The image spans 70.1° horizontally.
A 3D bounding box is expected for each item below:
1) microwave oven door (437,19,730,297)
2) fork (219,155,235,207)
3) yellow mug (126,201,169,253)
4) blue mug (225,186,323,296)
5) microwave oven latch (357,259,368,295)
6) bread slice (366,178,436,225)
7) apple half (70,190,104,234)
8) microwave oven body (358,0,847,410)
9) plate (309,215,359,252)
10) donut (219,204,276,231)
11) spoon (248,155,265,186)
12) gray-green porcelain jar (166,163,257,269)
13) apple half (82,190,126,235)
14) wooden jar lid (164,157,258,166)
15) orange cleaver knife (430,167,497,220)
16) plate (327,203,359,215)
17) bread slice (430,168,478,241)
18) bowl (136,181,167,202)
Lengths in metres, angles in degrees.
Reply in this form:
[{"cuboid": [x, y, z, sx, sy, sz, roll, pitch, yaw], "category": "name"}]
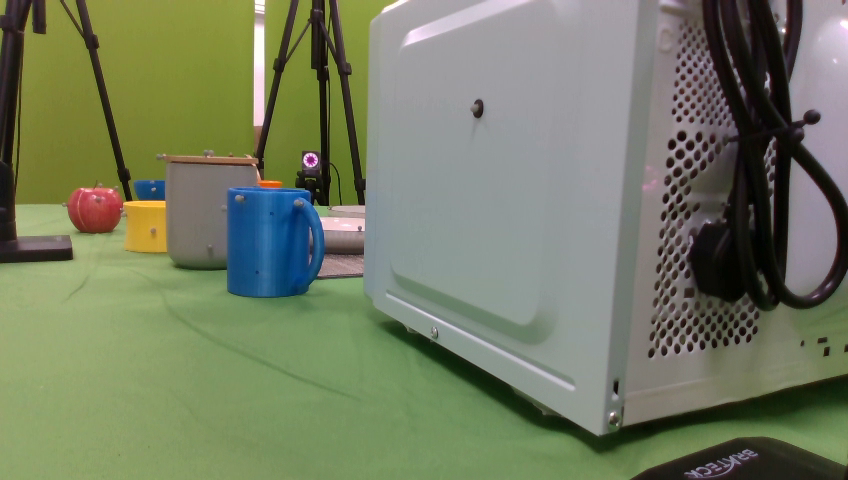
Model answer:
[{"cuboid": [0.181, -0.076, 0.618, 0.358, 0.243, 0.039, -2, 9, -28], "category": "microwave oven door"}, {"cuboid": [-0.459, -0.134, 1.415, 0.028, 0.018, 0.207, -1, -34, -25], "category": "fork"}, {"cuboid": [-0.361, -0.019, 0.866, 0.130, 0.064, 0.100, 6, 9, 27], "category": "yellow mug"}, {"cuboid": [-0.148, 0.000, 0.618, 0.116, 0.106, 0.083, 7, 9, 33], "category": "blue mug"}, {"cuboid": [-0.019, 0.031, 0.529, 0.079, 0.029, 0.030, -1, 7, -27], "category": "microwave oven latch"}, {"cuboid": [-0.050, -0.073, 1.139, 0.107, 0.018, 0.134, -10, -27, -41], "category": "bread slice"}, {"cuboid": [-0.552, -0.047, 1.010, 0.053, 0.074, 0.081, 0, 10, 26], "category": "apple half"}, {"cuboid": [0.210, -0.051, 0.471, 0.444, 0.260, 0.324, -1, 7, -28], "category": "microwave oven body"}, {"cuboid": [-0.130, -0.011, 0.945, 0.208, 0.039, 0.207, 2, 8, 0], "category": "plate"}, {"cuboid": [-0.316, -0.039, 1.083, 0.099, 0.048, 0.099, 3, 7, 0], "category": "donut"}, {"cuboid": [-0.417, -0.150, 1.543, 0.042, 0.193, 0.021, -3, -36, -34], "category": "spoon"}, {"cuboid": [-0.263, -0.031, 0.754, 0.106, 0.126, 0.106, 2, 7, 0], "category": "gray-green porcelain jar"}, {"cuboid": [-0.516, -0.046, 0.994, 0.032, 0.081, 0.081, 0, 6, 26], "category": "apple half"}, {"cuboid": [-0.261, -0.093, 0.746, 0.108, 0.020, 0.108, 0, 9, 0], "category": "wooden jar lid"}, {"cuboid": [0.075, -0.076, 1.088, 0.012, 0.077, 0.212, 2, -6, 36], "category": "orange cleaver knife"}, {"cuboid": [-0.102, -0.053, 1.299, 0.209, 0.038, 0.209, 2, 8, 0], "category": "plate"}, {"cuboid": [0.057, -0.060, 1.052, 0.019, 0.131, 0.105, 19, 15, 35], "category": "bread slice"}, {"cuboid": [-0.497, -0.076, 1.221, 0.151, 0.077, 0.151, 2, 8, 0], "category": "bowl"}]
